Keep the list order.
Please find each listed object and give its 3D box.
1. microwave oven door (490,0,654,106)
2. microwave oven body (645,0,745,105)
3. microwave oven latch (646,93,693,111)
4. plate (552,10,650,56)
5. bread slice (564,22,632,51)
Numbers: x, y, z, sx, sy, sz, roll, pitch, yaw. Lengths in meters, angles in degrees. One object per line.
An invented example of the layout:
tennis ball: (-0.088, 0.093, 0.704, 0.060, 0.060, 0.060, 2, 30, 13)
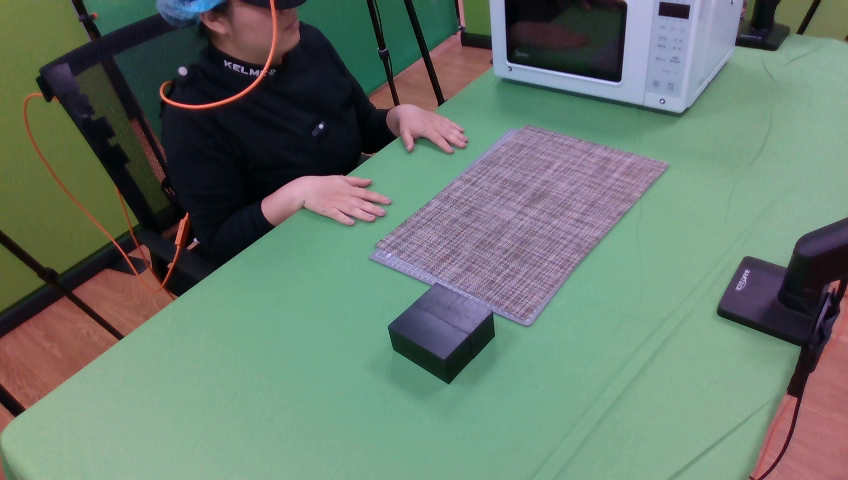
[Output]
microwave oven door: (0.292, -0.420, 1.228, 0.353, 0.245, 0.039, 22, 49, 32)
microwave oven body: (0.416, -0.486, 1.290, 0.438, 0.261, 0.327, 21, 50, 33)
microwave oven latch: (0.477, -0.273, 1.177, 0.078, 0.029, 0.030, 22, 50, 33)
plate: (0.390, -0.455, 1.339, 0.209, 0.038, 0.208, -5, 39, 5)
bread slice: (0.394, -0.453, 1.344, 0.105, 0.019, 0.130, -36, 42, -26)
